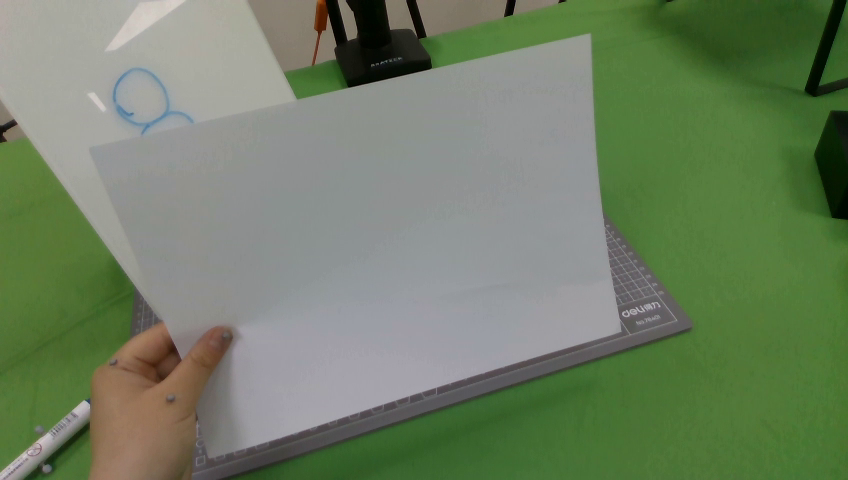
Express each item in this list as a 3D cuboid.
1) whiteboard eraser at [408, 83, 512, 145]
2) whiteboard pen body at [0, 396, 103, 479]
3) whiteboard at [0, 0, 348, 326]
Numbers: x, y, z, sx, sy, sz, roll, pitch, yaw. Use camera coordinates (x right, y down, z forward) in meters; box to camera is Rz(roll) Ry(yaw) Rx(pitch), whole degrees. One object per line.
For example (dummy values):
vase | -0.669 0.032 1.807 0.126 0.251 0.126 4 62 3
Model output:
whiteboard eraser | 0.041 -0.144 0.704 0.113 0.042 0.055 -18 46 -10
whiteboard pen body | -0.300 0.170 0.446 0.017 0.017 0.140 21 50 29
whiteboard | -0.252 -0.117 0.579 0.217 0.308 0.142 -37 29 -26
